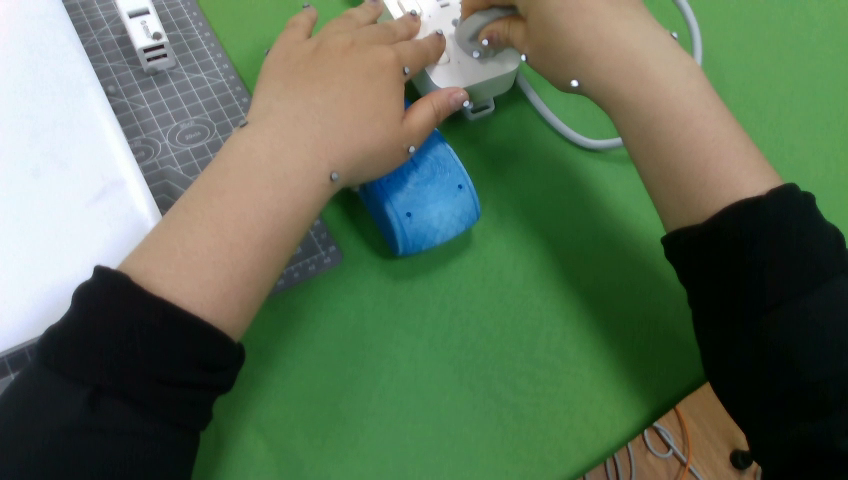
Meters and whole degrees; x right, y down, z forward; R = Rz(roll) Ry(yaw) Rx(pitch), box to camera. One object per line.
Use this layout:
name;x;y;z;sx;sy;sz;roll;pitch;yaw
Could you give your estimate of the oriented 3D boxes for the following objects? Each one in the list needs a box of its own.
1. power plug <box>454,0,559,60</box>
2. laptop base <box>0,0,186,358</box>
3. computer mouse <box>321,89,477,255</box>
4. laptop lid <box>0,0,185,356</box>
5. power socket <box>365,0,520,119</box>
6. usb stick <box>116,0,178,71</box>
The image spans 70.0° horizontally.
power plug;0.056;-0.138;0.417;0.073;0.053;0.035;0;60;-20
laptop base;-0.337;-0.005;0.312;0.355;0.023;0.234;-25;76;-20
computer mouse;-0.017;-0.048;0.379;0.063;0.041;0.116;-24;68;-15
laptop lid;-0.334;-0.008;0.302;0.357;0.013;0.240;-24;75;-19
power socket;-0.008;-0.188;0.445;0.072;0.033;0.225;-22;72;-17
usb stick;-0.182;-0.141;0.394;0.021;0.027;0.058;-23;70;-16
